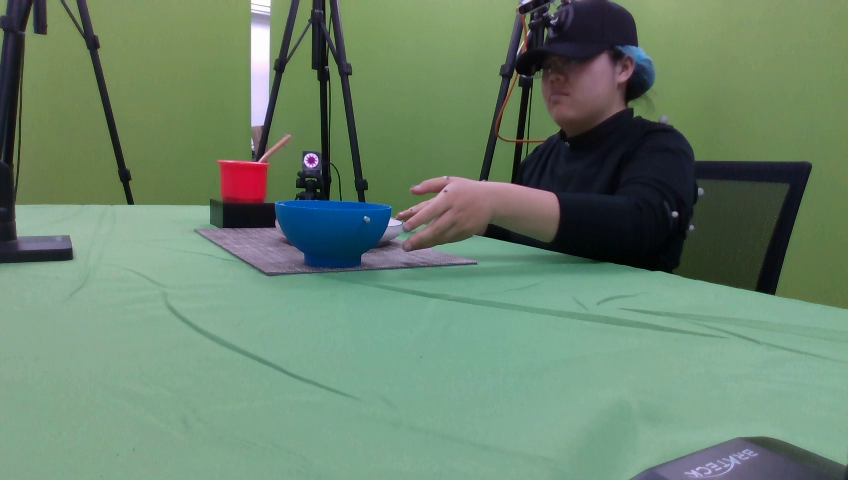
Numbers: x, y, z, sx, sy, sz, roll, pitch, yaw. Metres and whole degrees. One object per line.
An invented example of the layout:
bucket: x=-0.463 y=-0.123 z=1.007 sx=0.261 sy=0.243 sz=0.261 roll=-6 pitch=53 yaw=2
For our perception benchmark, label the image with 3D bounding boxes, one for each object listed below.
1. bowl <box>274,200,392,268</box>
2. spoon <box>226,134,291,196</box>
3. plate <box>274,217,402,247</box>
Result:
bowl: x=-0.117 y=-0.008 z=0.781 sx=0.151 sy=0.077 sz=0.151 roll=3 pitch=7 yaw=0
spoon: x=-0.320 y=-0.149 z=1.187 sx=0.041 sy=0.022 sz=0.194 roll=9 pitch=53 yaw=36
plate: x=-0.140 y=-0.015 z=0.993 sx=0.208 sy=0.039 sz=0.207 roll=3 pitch=7 yaw=0
